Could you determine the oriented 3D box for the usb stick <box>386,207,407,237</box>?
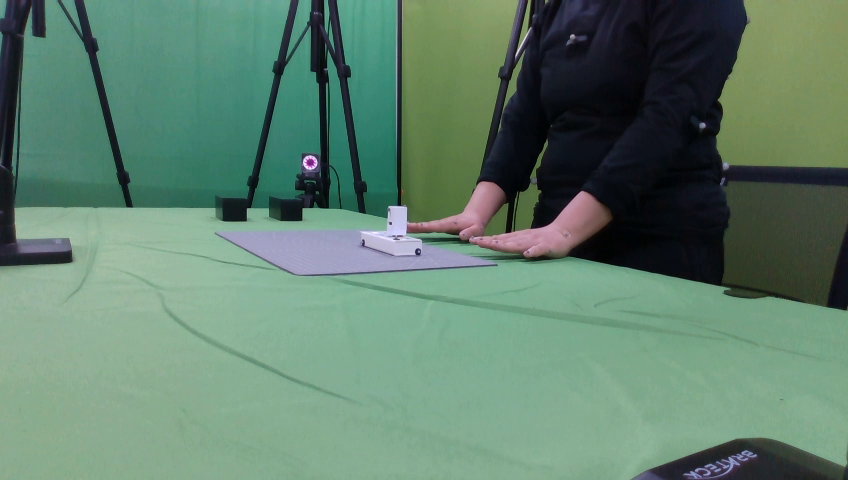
[{"bbox_3d":[-0.043,-0.022,0.937,0.027,0.059,0.021,-5,10,-34],"label":"usb stick"}]

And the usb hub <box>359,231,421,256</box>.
[{"bbox_3d":[-0.056,0.004,0.954,0.050,0.025,0.124,-2,8,-31],"label":"usb hub"}]
